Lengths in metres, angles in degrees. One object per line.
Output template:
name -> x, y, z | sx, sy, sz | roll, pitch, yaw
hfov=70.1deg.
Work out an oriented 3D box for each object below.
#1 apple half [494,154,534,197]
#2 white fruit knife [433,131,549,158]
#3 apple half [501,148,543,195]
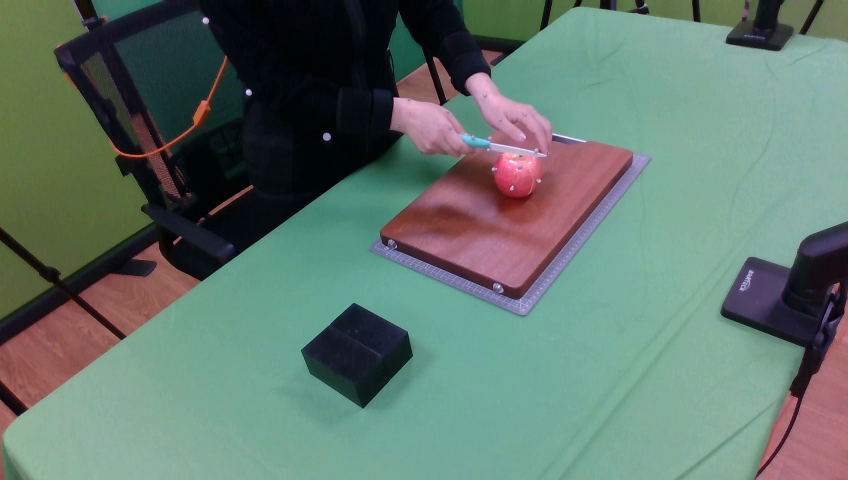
apple half -> 0.141, -0.098, 0.989 | 0.080, 0.081, 0.033 | 27, 50, 35
white fruit knife -> 0.102, -0.152, 0.962 | 0.206, 0.027, 0.016 | 15, 75, 28
apple half -> 0.167, -0.118, 1.010 | 0.080, 0.075, 0.053 | 24, 46, 38
